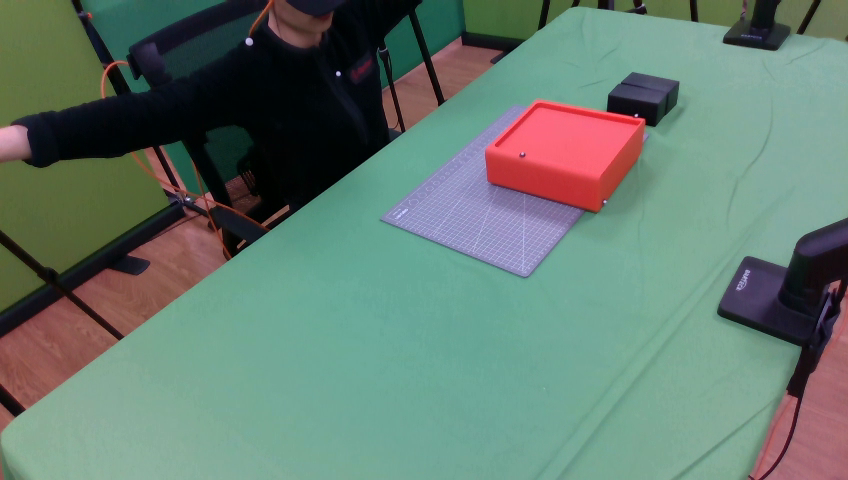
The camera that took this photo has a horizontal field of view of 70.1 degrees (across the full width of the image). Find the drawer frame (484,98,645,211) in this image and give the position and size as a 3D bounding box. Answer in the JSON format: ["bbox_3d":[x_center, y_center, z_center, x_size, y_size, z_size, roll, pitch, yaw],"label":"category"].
[{"bbox_3d":[0.248,-0.158,1.070,0.212,0.083,0.202,20,47,29],"label":"drawer frame"}]

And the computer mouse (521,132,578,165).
[{"bbox_3d":[0.229,-0.172,1.096,0.062,0.041,0.118,22,35,34],"label":"computer mouse"}]

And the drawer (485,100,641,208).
[{"bbox_3d":[0.246,-0.158,1.073,0.210,0.073,0.195,20,48,30],"label":"drawer"}]
